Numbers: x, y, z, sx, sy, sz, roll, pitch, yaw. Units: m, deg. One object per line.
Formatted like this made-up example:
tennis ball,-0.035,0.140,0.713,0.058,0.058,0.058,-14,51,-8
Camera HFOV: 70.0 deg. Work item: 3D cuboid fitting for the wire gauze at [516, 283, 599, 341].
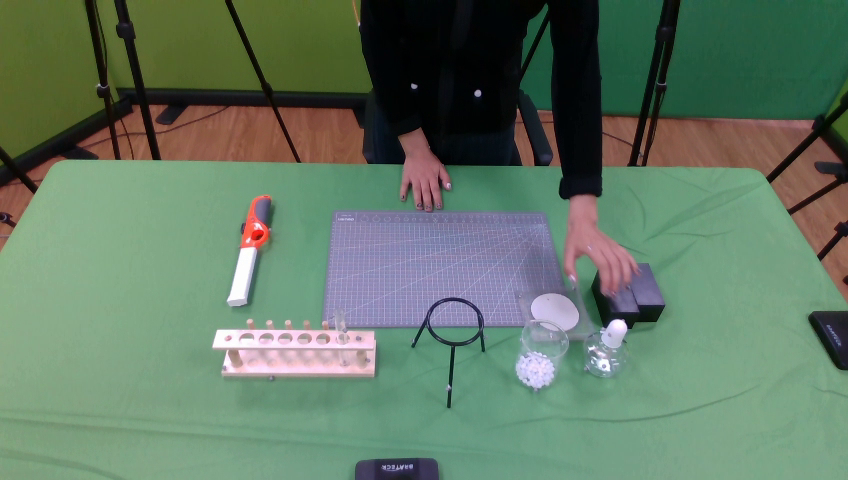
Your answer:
wire gauze,0.240,0.131,1.094,0.125,0.011,0.120,-3,47,-8

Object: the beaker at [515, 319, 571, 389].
beaker,0.186,0.186,0.980,0.074,0.101,0.083,-23,51,-24

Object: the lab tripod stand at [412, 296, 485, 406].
lab tripod stand,0.045,0.168,0.963,0.148,0.132,0.147,3,47,-3

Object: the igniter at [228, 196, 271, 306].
igniter,-0.332,0.011,1.160,0.057,0.025,0.274,-6,46,5

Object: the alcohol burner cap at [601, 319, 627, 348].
alcohol burner cap,0.305,0.146,0.966,0.034,0.048,0.033,6,41,-5

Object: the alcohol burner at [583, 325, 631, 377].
alcohol burner,0.304,0.171,0.991,0.078,0.120,0.077,2,48,-2

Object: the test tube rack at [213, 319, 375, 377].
test tube rack,-0.202,0.170,0.977,0.242,0.085,0.066,1,46,-3

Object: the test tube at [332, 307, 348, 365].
test tube,-0.128,0.151,0.931,0.017,0.151,0.017,1,50,-2
